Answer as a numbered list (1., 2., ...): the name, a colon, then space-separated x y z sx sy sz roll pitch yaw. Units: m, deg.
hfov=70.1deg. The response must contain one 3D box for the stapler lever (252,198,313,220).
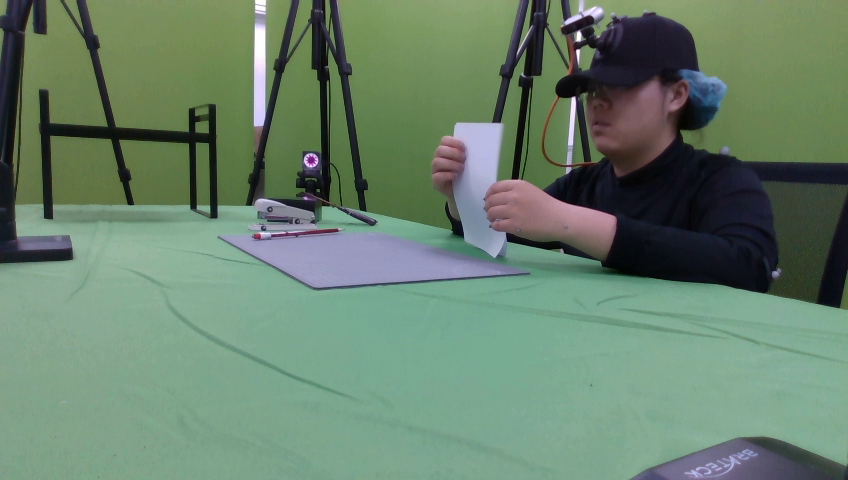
1. stapler lever: -0.273 -0.058 1.170 0.119 0.040 0.026 0 10 -37

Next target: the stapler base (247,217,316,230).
1. stapler base: -0.276 -0.033 1.172 0.131 0.024 0.041 0 10 -37

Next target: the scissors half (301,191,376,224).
1. scissors half: -0.189 -0.073 1.334 0.175 0.013 0.040 22 11 -10

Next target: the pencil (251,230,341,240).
1. pencil: -0.215 -0.011 1.049 0.012 0.012 0.195 9 9 39

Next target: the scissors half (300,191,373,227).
1. scissors half: -0.191 -0.069 1.314 0.175 0.013 0.040 26 16 7
